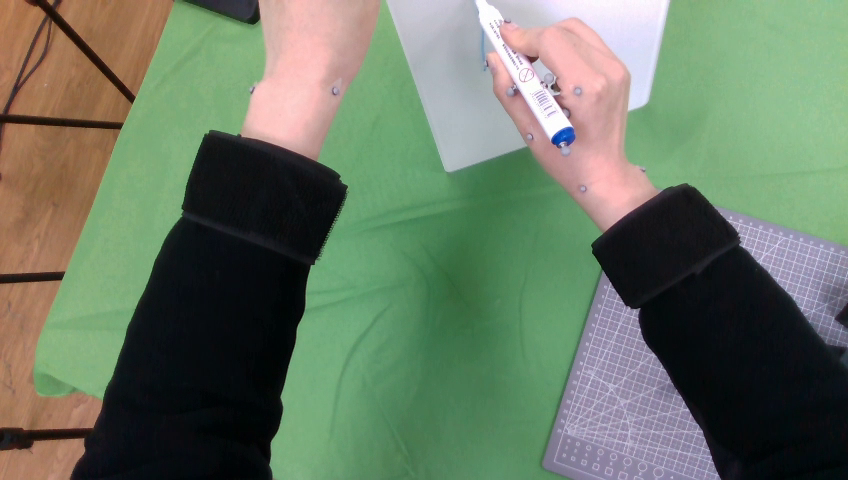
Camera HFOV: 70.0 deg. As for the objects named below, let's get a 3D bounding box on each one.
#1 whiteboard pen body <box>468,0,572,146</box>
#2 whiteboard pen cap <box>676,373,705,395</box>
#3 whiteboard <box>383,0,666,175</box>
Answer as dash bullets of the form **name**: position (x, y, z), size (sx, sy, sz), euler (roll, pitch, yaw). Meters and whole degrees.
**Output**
- **whiteboard pen body**: position (0.058, -0.117, 0.397), size (0.017, 0.017, 0.139), euler (-27, 66, 3)
- **whiteboard pen cap**: position (0.255, 0.137, 0.581), size (0.018, 0.033, 0.018), euler (0, 88, 4)
- **whiteboard**: position (0.075, -0.220, 0.514), size (0.217, 0.308, 0.142), euler (-18, 65, 4)
